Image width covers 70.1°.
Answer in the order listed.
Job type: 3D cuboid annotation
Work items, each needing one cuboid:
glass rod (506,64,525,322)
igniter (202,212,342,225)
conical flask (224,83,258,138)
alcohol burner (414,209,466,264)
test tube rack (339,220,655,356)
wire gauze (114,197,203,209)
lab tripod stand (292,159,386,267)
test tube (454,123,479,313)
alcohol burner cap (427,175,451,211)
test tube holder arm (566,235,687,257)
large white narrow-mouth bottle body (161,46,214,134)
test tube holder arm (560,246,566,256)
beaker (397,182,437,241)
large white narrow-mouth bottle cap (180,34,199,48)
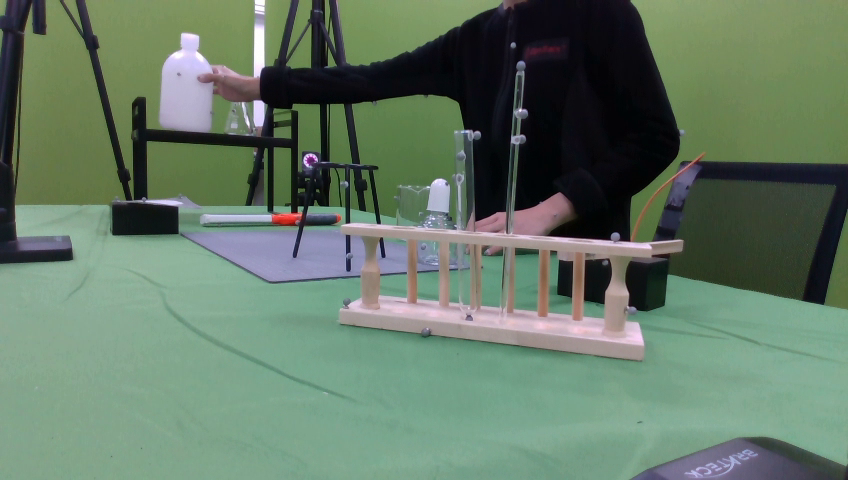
[{"bbox_3d":[0.069,-0.030,0.458,0.008,0.199,0.008,0,15,0],"label":"glass rod"},{"bbox_3d":[-0.298,-0.044,1.216,0.278,0.025,0.057,-2,-2,-32],"label":"igniter"},{"bbox_3d":[-0.422,-0.299,1.395,0.075,0.122,0.075,2,8,0],"label":"conical flask"},{"bbox_3d":[0.021,-0.028,0.826,0.078,0.119,0.078,0,6,0],"label":"alcohol burner"},{"bbox_3d":[0.056,0.032,0.495,0.242,0.085,0.067,4,7,15],"label":"test tube rack"},{"bbox_3d":[-0.447,-0.062,1.015,0.126,0.011,0.121,-2,8,-31],"label":"wire gauze"},{"bbox_3d":[-0.105,-0.039,0.798,0.148,0.131,0.148,2,5,0],"label":"lab tripod stand"},{"bbox_3d":[0.034,-0.016,0.477,0.017,0.150,0.017,-2,9,1],"label":"test tube"},{"bbox_3d":[0.023,-0.064,0.822,0.034,0.048,0.034,7,5,0],"label":"alcohol burner cap"},{"bbox_3d":[0.215,0.006,0.630,0.179,0.015,0.013,-3,9,-30],"label":"test tube holder arm"},{"bbox_3d":[-0.493,-0.323,1.265,0.102,0.194,0.102,6,8,0],"label":"large white narrow-mouth bottle body"},{"bbox_3d":[0.173,0.007,0.611,0.088,0.015,0.010,-3,9,-29],"label":"test tube holder arm"},{"bbox_3d":[-0.012,-0.050,1.072,0.074,0.100,0.084,1,8,-4],"label":"beaker"},{"bbox_3d":[-0.486,-0.411,1.253,0.038,0.024,0.037,6,8,0],"label":"large white narrow-mouth bottle cap"}]
